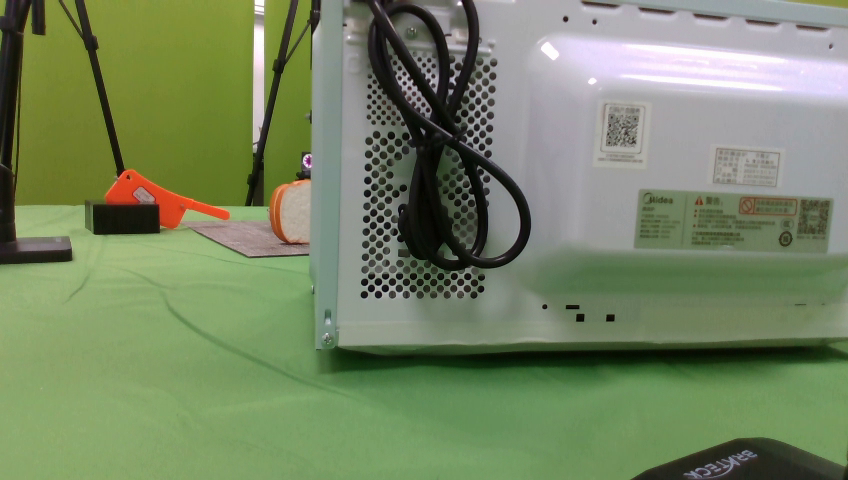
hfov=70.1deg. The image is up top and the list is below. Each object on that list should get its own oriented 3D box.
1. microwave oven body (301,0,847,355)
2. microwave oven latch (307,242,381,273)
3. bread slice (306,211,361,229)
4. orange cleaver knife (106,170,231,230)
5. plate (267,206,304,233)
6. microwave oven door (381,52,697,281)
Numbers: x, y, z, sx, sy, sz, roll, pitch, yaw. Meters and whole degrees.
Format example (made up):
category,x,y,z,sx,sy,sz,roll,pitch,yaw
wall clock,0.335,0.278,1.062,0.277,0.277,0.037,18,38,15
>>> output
category,x,y,z,sx,sy,sz,roll,pitch,yaw
microwave oven body,0.120,-0.053,0.535,0.443,0.260,0.325,2,7,-11
microwave oven latch,-0.086,0.019,0.655,0.079,0.029,0.030,2,7,-9
bread slice,-0.173,-0.040,1.173,0.107,0.018,0.134,-1,10,-8
orange cleaver knife,-0.458,-0.060,1.096,0.212,0.077,0.012,23,-5,-38
plate,-0.197,-0.039,1.175,0.208,0.039,0.207,2,7,0
microwave oven door,0.134,-0.078,0.692,0.357,0.243,0.039,1,8,-9
